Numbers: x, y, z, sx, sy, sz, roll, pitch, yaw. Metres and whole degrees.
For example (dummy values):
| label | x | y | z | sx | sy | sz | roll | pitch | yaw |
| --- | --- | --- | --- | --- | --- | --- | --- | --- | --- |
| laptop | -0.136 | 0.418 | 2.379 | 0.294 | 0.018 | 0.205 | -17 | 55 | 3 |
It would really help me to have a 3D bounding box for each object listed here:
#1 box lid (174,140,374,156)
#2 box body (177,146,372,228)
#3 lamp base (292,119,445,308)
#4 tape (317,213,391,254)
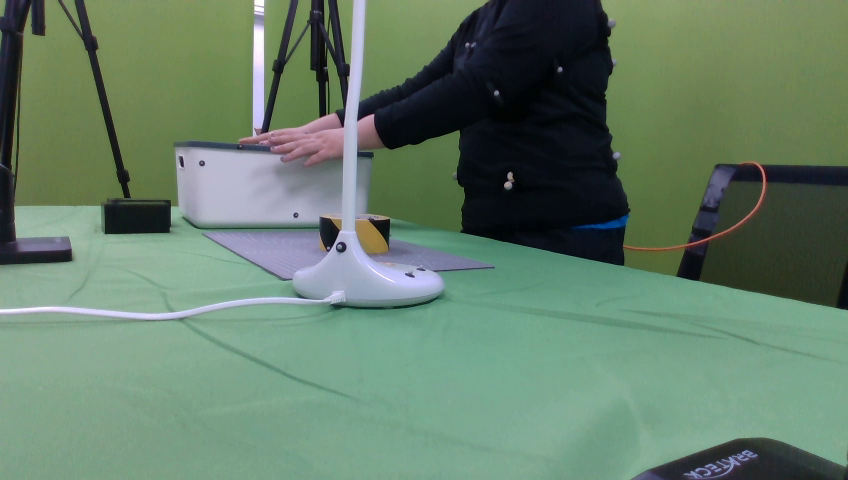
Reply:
| label | x | y | z | sx | sy | sz | roll | pitch | yaw |
| --- | --- | --- | --- | --- | --- | --- | --- | --- | --- |
| box lid | -0.318 | -0.191 | 1.270 | 0.373 | 0.015 | 0.262 | -1 | 8 | -29 |
| box body | -0.319 | -0.118 | 1.280 | 0.366 | 0.160 | 0.253 | -1 | 8 | -29 |
| lamp base | -0.056 | -0.030 | 0.616 | 0.160 | 0.180 | 0.179 | 4 | 10 | 8 |
| tape | -0.109 | -0.012 | 0.938 | 0.117 | 0.052 | 0.117 | 2 | 7 | 0 |
